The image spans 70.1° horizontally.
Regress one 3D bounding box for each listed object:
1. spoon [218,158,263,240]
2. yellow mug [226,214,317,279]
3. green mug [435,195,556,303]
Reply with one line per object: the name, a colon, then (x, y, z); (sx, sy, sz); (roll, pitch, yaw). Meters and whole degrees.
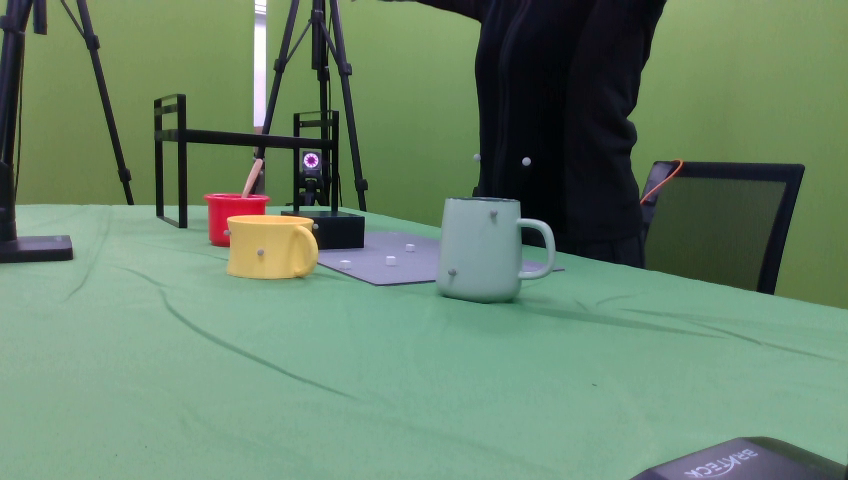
spoon: (-0.287, -0.070, 0.974); (0.041, 0.021, 0.193); (5, 51, 2)
yellow mug: (-0.172, 0.007, 0.717); (0.130, 0.064, 0.100); (9, 9, 36)
green mug: (0.074, 0.009, 0.624); (0.125, 0.105, 0.093); (5, 7, 23)
